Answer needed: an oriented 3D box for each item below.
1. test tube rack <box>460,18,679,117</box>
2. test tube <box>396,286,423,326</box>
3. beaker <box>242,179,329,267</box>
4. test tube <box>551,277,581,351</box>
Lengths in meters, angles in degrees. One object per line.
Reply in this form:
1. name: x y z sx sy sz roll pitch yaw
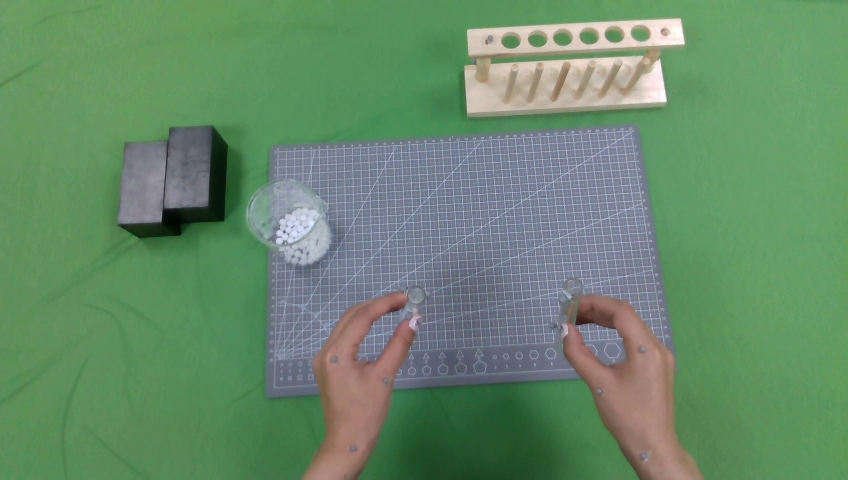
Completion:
1. test tube rack: 0.167 -0.203 0.720 0.242 0.085 0.066 -3 74 0
2. test tube: -0.014 0.062 0.546 0.017 0.151 0.017 1 75 -5
3. beaker: -0.143 -0.015 0.663 0.084 0.101 0.073 -11 74 -2
4. test tube: 0.124 0.070 0.536 0.017 0.152 0.017 -3 62 7
